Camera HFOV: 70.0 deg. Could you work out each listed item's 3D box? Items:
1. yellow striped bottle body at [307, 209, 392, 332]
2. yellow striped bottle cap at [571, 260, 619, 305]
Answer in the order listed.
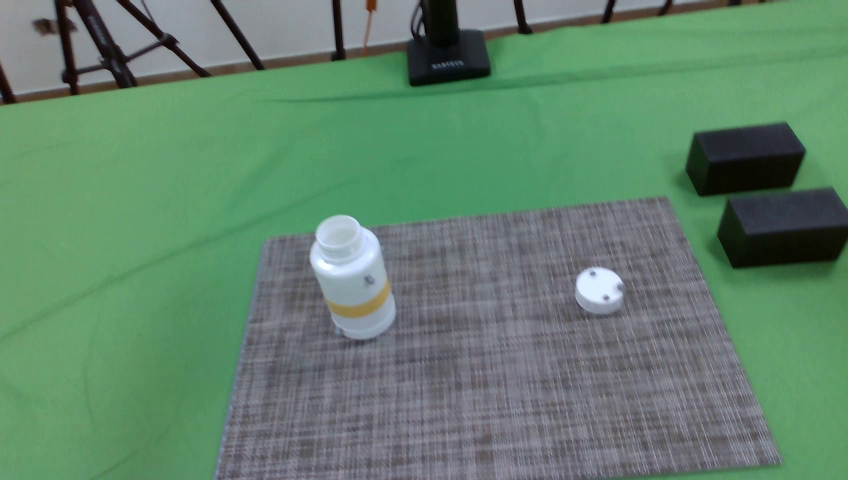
[{"bbox_3d":[-0.069,0.026,0.558,0.063,0.121,0.062,-4,47,5],"label":"yellow striped bottle body"},{"bbox_3d":[0.165,0.041,0.582,0.044,0.019,0.044,-3,47,4],"label":"yellow striped bottle cap"}]
